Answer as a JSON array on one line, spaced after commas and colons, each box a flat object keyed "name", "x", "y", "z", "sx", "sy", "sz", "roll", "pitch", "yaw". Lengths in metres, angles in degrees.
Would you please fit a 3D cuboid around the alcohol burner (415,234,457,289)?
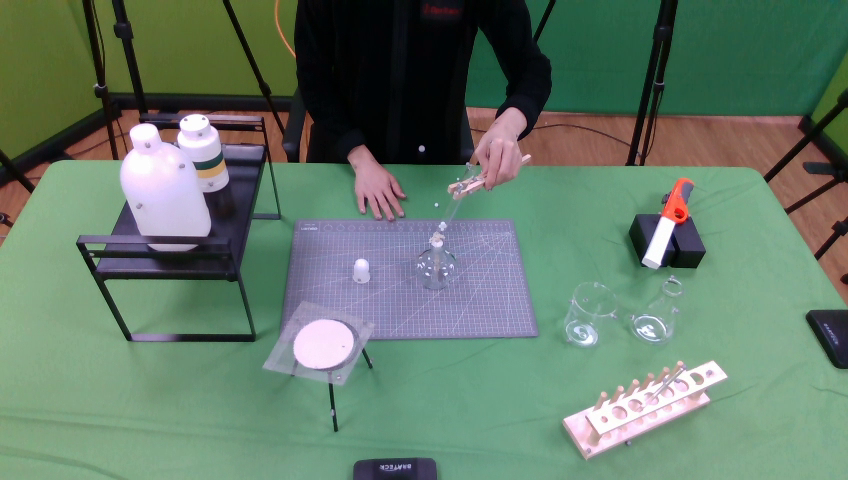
[{"name": "alcohol burner", "x": 0.022, "y": 0.033, "z": 1.100, "sx": 0.078, "sy": 0.120, "sz": 0.077, "roll": 1, "pitch": 47, "yaw": -1}]

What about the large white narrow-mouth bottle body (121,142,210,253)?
[{"name": "large white narrow-mouth bottle body", "x": -0.378, "y": -0.077, "z": 0.875, "sx": 0.102, "sy": 0.195, "sz": 0.101, "roll": 3, "pitch": 46, "yaw": -3}]

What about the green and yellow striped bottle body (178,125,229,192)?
[{"name": "green and yellow striped bottle body", "x": -0.361, "y": -0.142, "z": 0.989, "sx": 0.063, "sy": 0.120, "sz": 0.063, "roll": 2, "pitch": 46, "yaw": -2}]

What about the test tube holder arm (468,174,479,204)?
[{"name": "test tube holder arm", "x": 0.080, "y": -0.090, "z": 1.031, "sx": 0.015, "sy": 0.013, "sz": 0.177, "roll": -18, "pitch": 19, "yaw": 7}]

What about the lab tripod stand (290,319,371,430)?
[{"name": "lab tripod stand", "x": -0.146, "y": 0.193, "z": 0.923, "sx": 0.148, "sy": 0.132, "sz": 0.147, "roll": 1, "pitch": 47, "yaw": -1}]

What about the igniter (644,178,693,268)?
[{"name": "igniter", "x": 0.488, "y": -0.042, "z": 1.204, "sx": 0.057, "sy": 0.025, "sz": 0.276, "roll": 30, "pitch": 51, "yaw": 10}]

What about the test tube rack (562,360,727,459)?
[{"name": "test tube rack", "x": 0.341, "y": 0.247, "z": 0.940, "sx": 0.243, "sy": 0.085, "sz": 0.066, "roll": -16, "pitch": 49, "yaw": -18}]

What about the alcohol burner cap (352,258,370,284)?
[{"name": "alcohol burner cap", "x": -0.117, "y": 0.055, "z": 1.118, "sx": 0.034, "sy": 0.048, "sz": 0.033, "roll": 1, "pitch": 46, "yaw": -1}]

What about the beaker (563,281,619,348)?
[{"name": "beaker", "x": 0.283, "y": 0.129, "z": 1.041, "sx": 0.074, "sy": 0.101, "sz": 0.083, "roll": 11, "pitch": 46, "yaw": 6}]

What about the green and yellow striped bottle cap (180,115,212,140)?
[{"name": "green and yellow striped bottle cap", "x": -0.358, "y": -0.177, "z": 0.951, "sx": 0.045, "sy": 0.020, "sz": 0.045, "roll": 2, "pitch": 44, "yaw": -1}]

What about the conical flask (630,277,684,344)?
[{"name": "conical flask", "x": 0.408, "y": 0.117, "z": 1.045, "sx": 0.075, "sy": 0.122, "sz": 0.075, "roll": 2, "pitch": 46, "yaw": -2}]

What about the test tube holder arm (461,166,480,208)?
[{"name": "test tube holder arm", "x": 0.077, "y": -0.085, "z": 0.990, "sx": 0.015, "sy": 0.088, "sz": 0.010, "roll": -14, "pitch": 47, "yaw": 8}]

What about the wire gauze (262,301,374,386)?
[{"name": "wire gauze", "x": -0.150, "y": 0.148, "z": 0.873, "sx": 0.121, "sy": 0.011, "sz": 0.124, "roll": 14, "pitch": 46, "yaw": 12}]

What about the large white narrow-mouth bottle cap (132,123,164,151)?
[{"name": "large white narrow-mouth bottle cap", "x": -0.370, "y": -0.138, "z": 0.812, "sx": 0.038, "sy": 0.024, "sz": 0.037, "roll": 3, "pitch": 46, "yaw": -3}]

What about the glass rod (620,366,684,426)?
[{"name": "glass rod", "x": 0.322, "y": 0.227, "z": 0.866, "sx": 0.008, "sy": 0.200, "sz": 0.008, "roll": 6, "pitch": 51, "yaw": -7}]

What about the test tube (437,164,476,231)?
[{"name": "test tube", "x": 0.051, "y": -0.066, "z": 0.992, "sx": 0.017, "sy": 0.151, "sz": 0.017, "roll": 12, "pitch": 46, "yaw": -13}]
